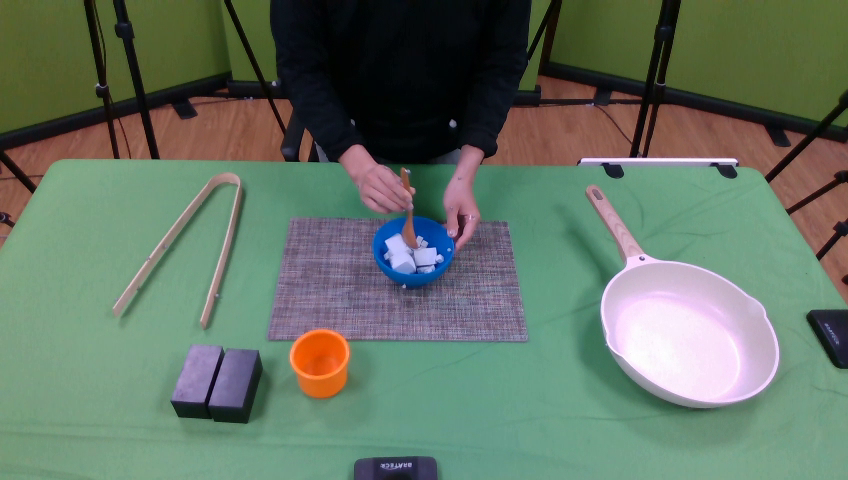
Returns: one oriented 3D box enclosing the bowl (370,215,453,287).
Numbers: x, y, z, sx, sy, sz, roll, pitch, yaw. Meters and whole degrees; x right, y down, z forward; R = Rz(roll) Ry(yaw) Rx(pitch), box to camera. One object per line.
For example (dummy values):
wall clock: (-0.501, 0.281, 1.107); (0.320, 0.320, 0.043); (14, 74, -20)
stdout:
bowl: (-0.024, 0.033, 1.119); (0.151, 0.077, 0.150); (2, 46, -2)

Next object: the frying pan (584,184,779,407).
frying pan: (0.412, 0.079, 1.096); (0.307, 0.103, 0.484); (-10, 56, -15)

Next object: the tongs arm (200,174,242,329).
tongs arm: (-0.387, 0.008, 1.158); (0.028, 0.028, 0.385); (-1, 46, -3)

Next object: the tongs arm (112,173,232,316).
tongs arm: (-0.467, -0.005, 1.157); (0.051, 0.026, 0.382); (11, 45, 4)

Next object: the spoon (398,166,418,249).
spoon: (-0.031, -0.053, 1.043); (0.021, 0.195, 0.041); (-34, 53, -29)
